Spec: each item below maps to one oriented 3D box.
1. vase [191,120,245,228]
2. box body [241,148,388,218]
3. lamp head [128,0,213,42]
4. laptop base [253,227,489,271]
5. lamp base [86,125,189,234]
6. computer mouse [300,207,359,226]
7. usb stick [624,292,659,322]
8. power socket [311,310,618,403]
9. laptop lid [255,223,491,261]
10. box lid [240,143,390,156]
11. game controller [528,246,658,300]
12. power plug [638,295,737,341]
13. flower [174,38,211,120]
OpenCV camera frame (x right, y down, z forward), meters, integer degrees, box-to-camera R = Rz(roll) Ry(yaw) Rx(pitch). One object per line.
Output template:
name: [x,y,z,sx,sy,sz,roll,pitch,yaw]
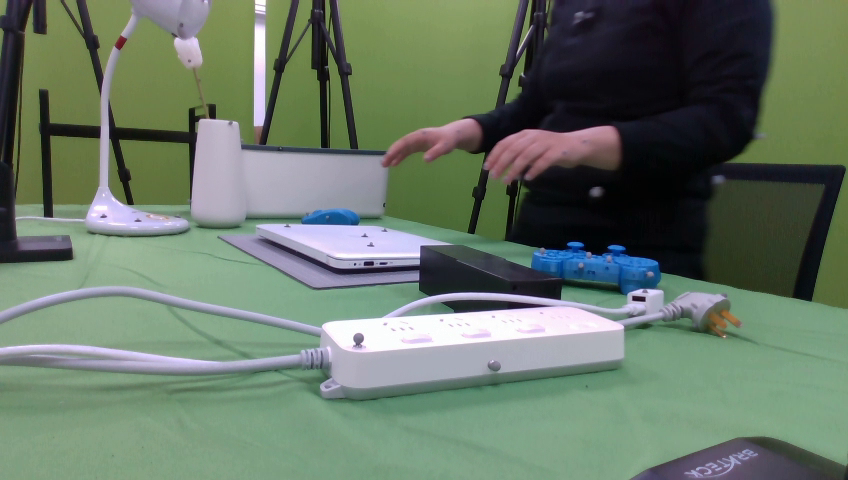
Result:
vase: [-0.389,-0.124,1.142,0.098,0.200,0.098,3,9,0]
box body: [-0.297,-0.143,1.474,0.366,0.160,0.253,-1,9,-30]
lamp head: [-0.423,-0.394,0.980,0.123,0.112,0.112,20,7,-3]
laptop base: [-0.096,0.011,0.911,0.237,0.023,0.352,2,6,-32]
lamp base: [-0.497,-0.105,1.027,0.179,0.180,0.160,1,7,2]
computer mouse: [-0.194,-0.046,1.241,0.117,0.041,0.063,0,10,11]
usb stick: [0.211,0.064,0.580,0.021,0.027,0.059,-2,-4,36]
power socket: [0.034,0.074,0.415,0.228,0.032,0.072,-1,7,-24]
laptop lid: [-0.093,0.000,0.911,0.243,0.013,0.355,1,7,-30]
box lid: [-0.295,-0.217,1.463,0.373,0.015,0.262,-1,8,-30]
game controller: [0.202,0.036,0.732,0.155,0.051,0.097,5,10,20]
power plug: [0.234,0.077,0.534,0.072,0.035,0.052,-32,39,-7]
flower: [-0.401,-0.207,1.141,0.038,0.361,0.044,-14,3,44]
